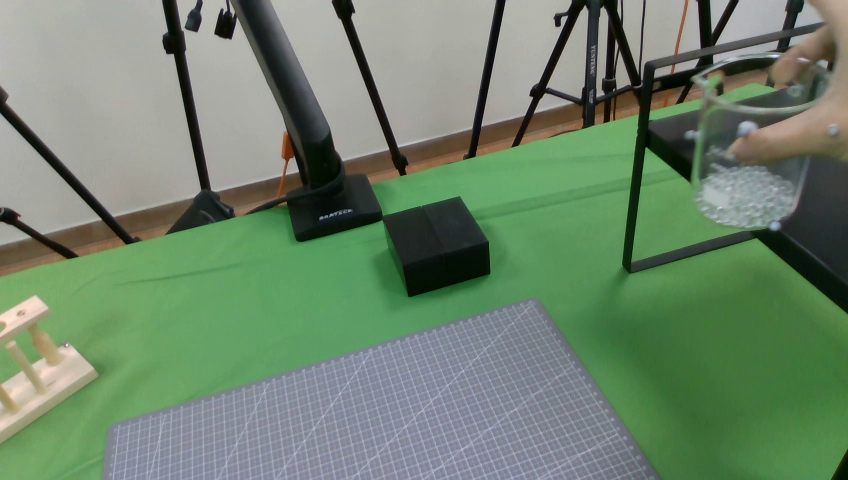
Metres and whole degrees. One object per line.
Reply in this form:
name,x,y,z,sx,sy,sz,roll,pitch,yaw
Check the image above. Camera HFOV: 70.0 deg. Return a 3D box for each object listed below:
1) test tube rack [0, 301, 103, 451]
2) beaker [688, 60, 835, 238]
test tube rack,-0.449,0.168,0.570,0.066,0.086,0.242,24,48,35
beaker,0.217,-0.058,0.409,0.083,0.101,0.074,22,52,36
